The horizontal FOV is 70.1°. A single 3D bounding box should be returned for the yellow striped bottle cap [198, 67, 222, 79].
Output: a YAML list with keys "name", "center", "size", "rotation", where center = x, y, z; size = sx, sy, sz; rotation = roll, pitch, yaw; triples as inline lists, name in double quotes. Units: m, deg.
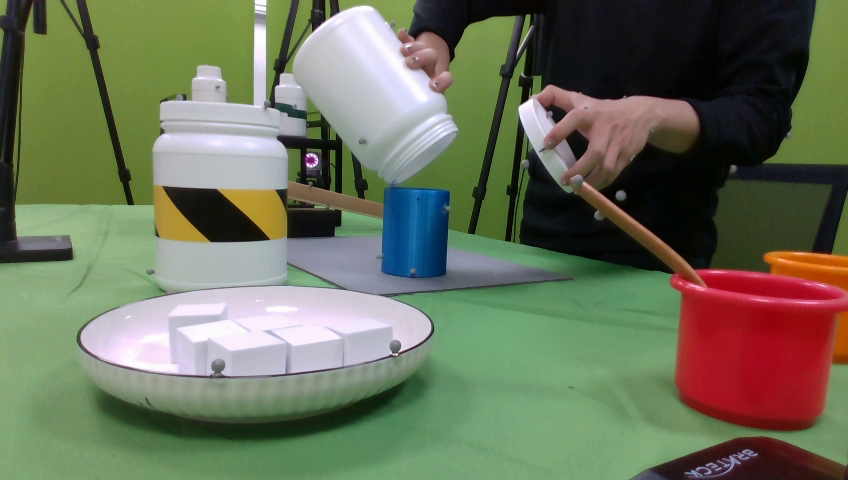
- name: "yellow striped bottle cap"
  center: [-0.412, -0.320, 1.162]
  size: [0.044, 0.018, 0.044]
  rotation: [0, 5, 0]

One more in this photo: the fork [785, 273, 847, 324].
- name: "fork"
  center: [0.332, 0.018, 0.444]
  size: [0.028, 0.018, 0.207]
  rotation: [-2, -35, -15]

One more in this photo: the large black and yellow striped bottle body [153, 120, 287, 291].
- name: "large black and yellow striped bottle body"
  center: [-0.208, -0.042, 0.626]
  size: [0.131, 0.184, 0.130]
  rotation: [2, 7, 0]

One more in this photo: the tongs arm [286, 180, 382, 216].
- name: "tongs arm"
  center: [-0.122, -0.066, 1.147]
  size: [0.387, 0.026, 0.050]
  rotation: [11, -2, -37]

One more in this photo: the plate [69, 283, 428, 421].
- name: "plate"
  center: [-0.102, 0.066, 0.381]
  size: [0.208, 0.039, 0.207]
  rotation: [2, 7, 0]

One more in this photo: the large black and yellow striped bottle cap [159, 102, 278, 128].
- name: "large black and yellow striped bottle cap"
  center: [-0.207, -0.125, 0.615]
  size: [0.115, 0.019, 0.115]
  rotation: [2, 6, 0]

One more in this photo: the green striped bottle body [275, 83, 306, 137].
- name: "green striped bottle body"
  center: [-0.269, -0.269, 1.221]
  size: [0.063, 0.119, 0.063]
  rotation: [2, 7, 0]

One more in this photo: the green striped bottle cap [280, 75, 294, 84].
- name: "green striped bottle cap"
  center: [-0.267, -0.320, 1.216]
  size: [0.044, 0.020, 0.044]
  rotation: [3, 9, 0]

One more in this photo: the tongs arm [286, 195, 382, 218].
- name: "tongs arm"
  center: [-0.165, -0.074, 1.216]
  size: [0.389, 0.027, 0.028]
  rotation: [11, -6, -24]

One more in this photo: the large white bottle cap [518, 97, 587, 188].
- name: "large white bottle cap"
  center: [0.146, -0.111, 0.684]
  size: [0.018, 0.114, 0.115]
  rotation: [-34, -9, 25]

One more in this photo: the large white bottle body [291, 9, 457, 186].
- name: "large white bottle body"
  center: [-0.058, -0.169, 0.737]
  size: [0.130, 0.184, 0.130]
  rotation: [-39, -3, -2]

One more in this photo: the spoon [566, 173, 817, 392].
- name: "spoon"
  center: [0.161, 0.024, 0.370]
  size: [0.193, 0.021, 0.042]
  rotation: [47, 17, 3]

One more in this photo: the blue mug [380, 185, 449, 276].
- name: "blue mug"
  center: [-0.018, -0.016, 0.764]
  size: [0.083, 0.106, 0.116]
  rotation: [-1, 8, -25]

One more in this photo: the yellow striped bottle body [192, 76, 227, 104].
- name: "yellow striped bottle body"
  center: [-0.414, -0.268, 1.169]
  size: [0.063, 0.120, 0.063]
  rotation: [2, 7, 0]

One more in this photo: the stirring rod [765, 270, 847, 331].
- name: "stirring rod"
  center: [0.352, 0.020, 0.484]
  size: [0.176, 0.006, 0.014]
  rotation: [-40, -7, 12]
